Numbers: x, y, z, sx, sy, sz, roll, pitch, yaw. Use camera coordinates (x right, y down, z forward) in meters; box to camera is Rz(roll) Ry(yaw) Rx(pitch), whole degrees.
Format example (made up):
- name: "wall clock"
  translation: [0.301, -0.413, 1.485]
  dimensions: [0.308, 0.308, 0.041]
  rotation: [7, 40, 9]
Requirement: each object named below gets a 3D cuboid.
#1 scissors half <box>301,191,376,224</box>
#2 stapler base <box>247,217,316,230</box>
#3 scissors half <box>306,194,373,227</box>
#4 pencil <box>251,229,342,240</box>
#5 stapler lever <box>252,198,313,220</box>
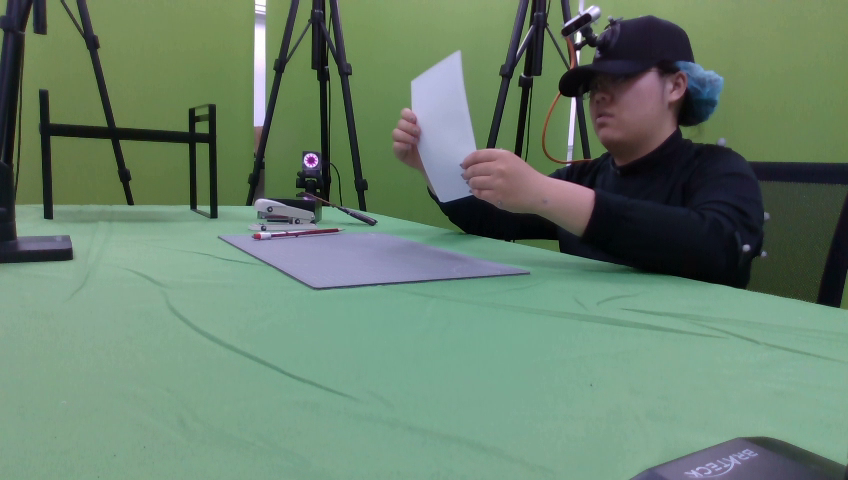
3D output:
- name: "scissors half"
  translation: [-0.189, -0.073, 1.333]
  dimensions: [0.175, 0.013, 0.040]
  rotation: [23, 9, -10]
- name: "stapler base"
  translation: [-0.276, -0.033, 1.172]
  dimensions: [0.131, 0.024, 0.041]
  rotation: [0, 10, -37]
- name: "scissors half"
  translation: [-0.191, -0.069, 1.314]
  dimensions: [0.175, 0.013, 0.040]
  rotation: [26, 14, 7]
- name: "pencil"
  translation: [-0.215, -0.011, 1.049]
  dimensions: [0.012, 0.012, 0.195]
  rotation: [9, 9, 39]
- name: "stapler lever"
  translation: [-0.273, -0.059, 1.170]
  dimensions: [0.119, 0.040, 0.026]
  rotation: [0, 10, -37]
